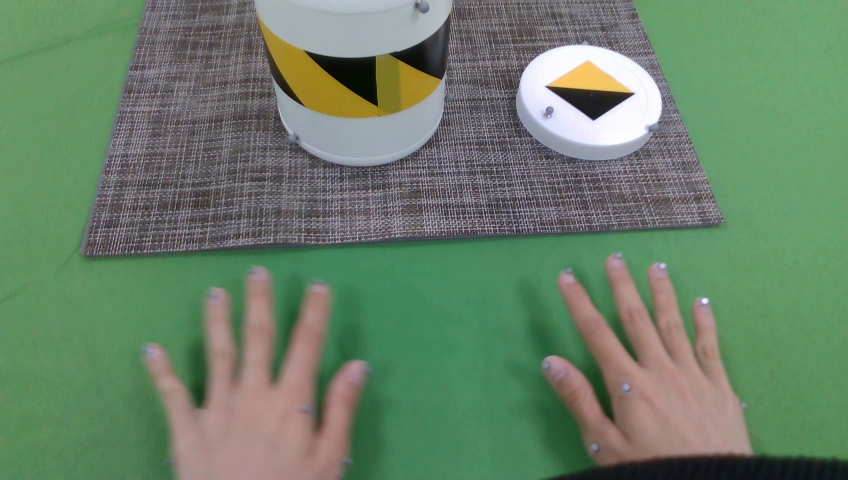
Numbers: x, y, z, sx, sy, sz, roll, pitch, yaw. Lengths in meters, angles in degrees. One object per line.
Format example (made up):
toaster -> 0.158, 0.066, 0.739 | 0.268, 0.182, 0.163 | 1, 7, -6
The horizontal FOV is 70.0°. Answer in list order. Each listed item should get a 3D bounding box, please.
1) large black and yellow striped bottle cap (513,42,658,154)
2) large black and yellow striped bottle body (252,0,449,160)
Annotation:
large black and yellow striped bottle cap -> 0.130, -0.118, 0.491 | 0.115, 0.019, 0.114 | 2, 57, -3
large black and yellow striped bottle body -> -0.048, -0.159, 0.408 | 0.131, 0.185, 0.129 | 1, 58, -2
